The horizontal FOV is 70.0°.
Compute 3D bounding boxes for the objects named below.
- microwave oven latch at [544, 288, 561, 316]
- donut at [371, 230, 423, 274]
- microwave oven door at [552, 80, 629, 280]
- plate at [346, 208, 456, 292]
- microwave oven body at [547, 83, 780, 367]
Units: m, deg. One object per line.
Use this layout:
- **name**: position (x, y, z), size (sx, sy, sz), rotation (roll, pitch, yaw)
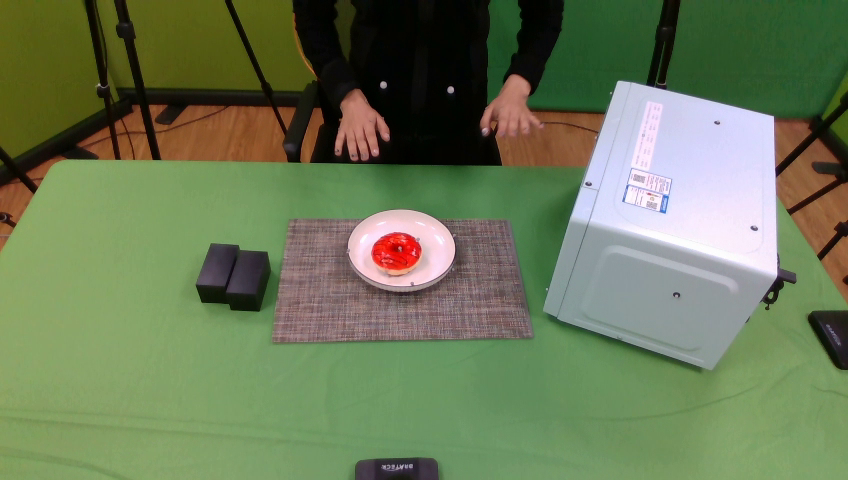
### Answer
- **microwave oven latch**: position (0.237, 0.098, 1.087), size (0.030, 0.029, 0.079), rotation (17, 47, 13)
- **donut**: position (-0.051, 0.022, 1.142), size (0.099, 0.048, 0.098), rotation (0, 45, 0)
- **microwave oven door**: position (0.324, -0.116, 1.156), size (0.039, 0.245, 0.354), rotation (18, 48, 13)
- **plate**: position (-0.044, 0.021, 1.159), size (0.209, 0.038, 0.208), rotation (2, 47, -2)
- **microwave oven body**: position (0.444, -0.041, 1.101), size (0.325, 0.261, 0.440), rotation (17, 47, 13)
